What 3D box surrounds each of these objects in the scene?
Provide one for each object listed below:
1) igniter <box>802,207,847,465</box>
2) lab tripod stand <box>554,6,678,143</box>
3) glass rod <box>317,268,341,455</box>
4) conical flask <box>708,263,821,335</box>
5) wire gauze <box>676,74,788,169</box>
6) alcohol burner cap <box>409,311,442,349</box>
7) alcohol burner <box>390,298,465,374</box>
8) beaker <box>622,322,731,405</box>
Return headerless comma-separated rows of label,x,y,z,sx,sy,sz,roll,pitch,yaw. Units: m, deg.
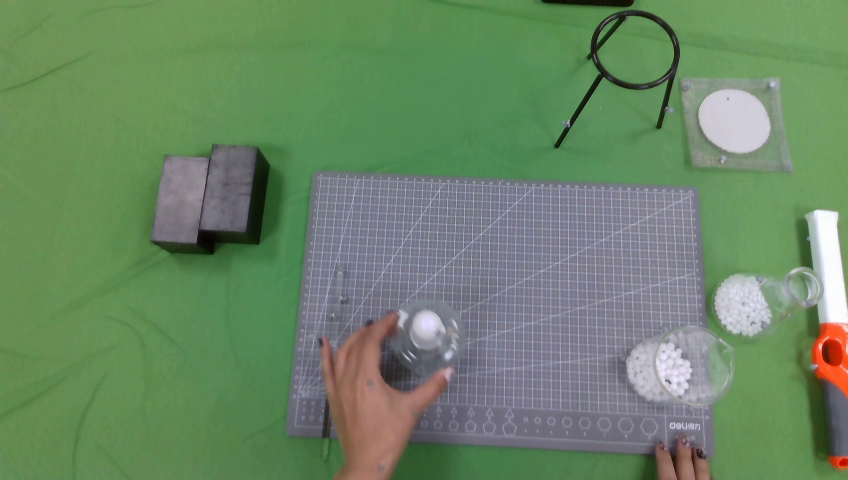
igniter,0.440,0.098,0.655,0.057,0.025,0.275,6,75,-10
lab tripod stand,0.210,-0.177,0.671,0.148,0.132,0.147,0,77,0
glass rod,-0.102,0.128,0.655,0.008,0.008,0.199,4,78,1
conical flask,0.350,0.054,0.617,0.075,0.122,0.075,0,75,1
wire gauze,0.370,-0.144,0.727,0.125,0.011,0.121,2,76,-1
alcohol burner cap,0.002,0.083,0.575,0.034,0.048,0.033,1,69,-3
alcohol burner,0.002,0.094,0.610,0.078,0.120,0.077,-1,75,3
beaker,0.249,0.124,0.609,0.084,0.101,0.073,-20,76,-5
